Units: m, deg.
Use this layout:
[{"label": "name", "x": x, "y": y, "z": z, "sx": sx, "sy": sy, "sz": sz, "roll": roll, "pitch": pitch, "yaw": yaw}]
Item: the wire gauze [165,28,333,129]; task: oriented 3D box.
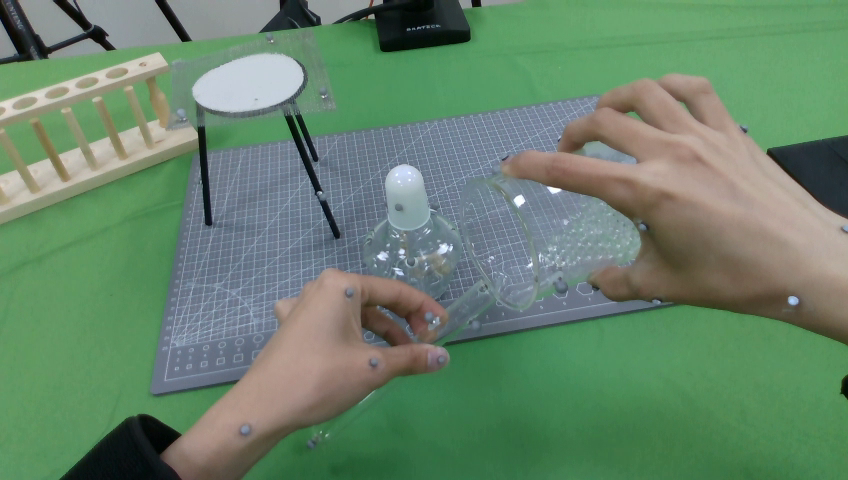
[{"label": "wire gauze", "x": -0.142, "y": -0.129, "z": 0.480, "sx": 0.125, "sy": 0.011, "sz": 0.120, "roll": -14, "pitch": 46, "yaw": -8}]

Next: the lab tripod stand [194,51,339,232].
[{"label": "lab tripod stand", "x": -0.137, "y": -0.082, "z": 0.528, "sx": 0.148, "sy": 0.133, "sz": 0.147, "roll": -3, "pitch": 47, "yaw": 3}]

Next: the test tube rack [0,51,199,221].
[{"label": "test tube rack", "x": -0.361, "y": -0.101, "z": 0.604, "sx": 0.242, "sy": 0.086, "sz": 0.066, "roll": -27, "pitch": 49, "yaw": -21}]

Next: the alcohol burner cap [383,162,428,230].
[{"label": "alcohol burner cap", "x": -0.015, "y": -0.034, "z": 0.434, "sx": 0.034, "sy": 0.048, "sz": 0.033, "roll": -3, "pitch": 47, "yaw": 4}]

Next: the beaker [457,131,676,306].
[{"label": "beaker", "x": 0.080, "y": -0.013, "z": 0.336, "sx": 0.100, "sy": 0.084, "sz": 0.073, "roll": -20, "pitch": 56, "yaw": -20}]

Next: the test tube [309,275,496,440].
[{"label": "test tube", "x": -0.016, "y": 0.074, "z": 0.367, "sx": 0.150, "sy": 0.017, "sz": 0.017, "roll": -42, "pitch": 46, "yaw": 13}]

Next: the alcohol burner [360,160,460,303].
[{"label": "alcohol burner", "x": -0.012, "y": -0.009, "z": 0.460, "sx": 0.078, "sy": 0.120, "sz": 0.077, "roll": -2, "pitch": 43, "yaw": 2}]
